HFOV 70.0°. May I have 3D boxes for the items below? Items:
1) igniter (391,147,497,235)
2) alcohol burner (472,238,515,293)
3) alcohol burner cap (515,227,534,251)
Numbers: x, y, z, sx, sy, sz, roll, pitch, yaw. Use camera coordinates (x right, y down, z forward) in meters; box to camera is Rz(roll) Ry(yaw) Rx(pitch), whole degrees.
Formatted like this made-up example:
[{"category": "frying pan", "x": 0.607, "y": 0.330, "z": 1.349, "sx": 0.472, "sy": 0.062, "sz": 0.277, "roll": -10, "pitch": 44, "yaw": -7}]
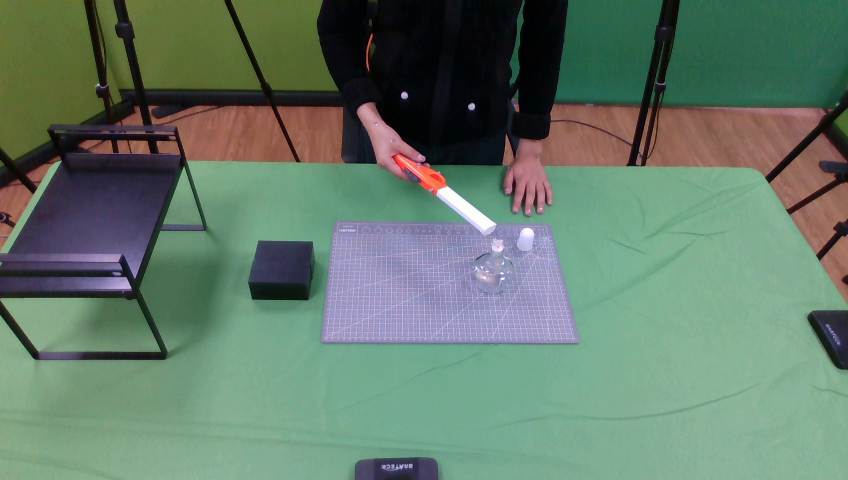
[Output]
[{"category": "igniter", "x": 0.027, "y": -0.098, "z": 1.125, "sx": 0.057, "sy": 0.025, "sz": 0.275, "roll": -24, "pitch": 52, "yaw": -36}, {"category": "alcohol burner", "x": 0.128, "y": 0.041, "z": 1.102, "sx": 0.078, "sy": 0.120, "sz": 0.077, "roll": 1, "pitch": 47, "yaw": 0}, {"category": "alcohol burner cap", "x": 0.201, "y": -0.006, "z": 1.201, "sx": 0.034, "sy": 0.048, "sz": 0.033, "roll": 4, "pitch": 45, "yaw": -4}]
